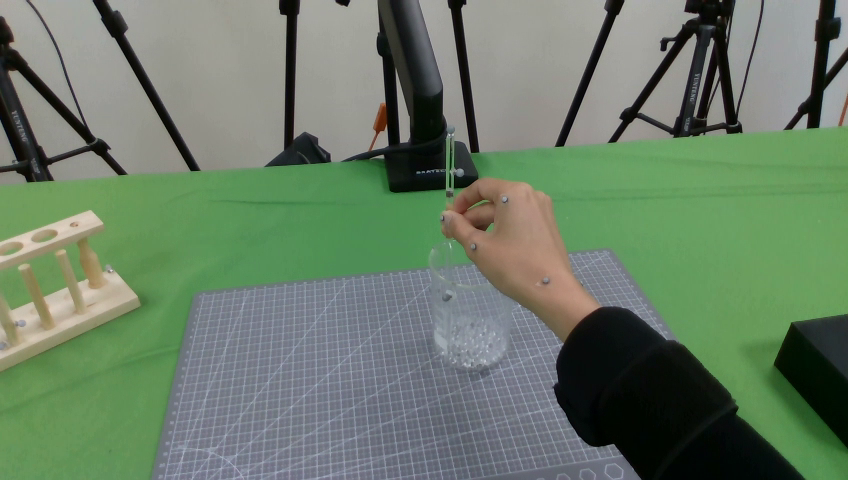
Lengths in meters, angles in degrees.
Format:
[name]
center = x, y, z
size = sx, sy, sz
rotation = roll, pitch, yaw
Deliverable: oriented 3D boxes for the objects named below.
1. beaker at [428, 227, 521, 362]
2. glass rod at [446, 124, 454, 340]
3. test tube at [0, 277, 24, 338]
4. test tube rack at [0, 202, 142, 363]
[beaker]
center = 0.039, 0.049, 0.528
size = 0.083, 0.101, 0.074
rotation = 27, 44, 34
[glass rod]
center = 0.022, 0.002, 0.496
size = 0.008, 0.201, 0.008
rotation = -1, 29, 1
[test tube]
center = -0.368, 0.023, 0.505
size = 0.017, 0.151, 0.017
rotation = 1, 34, -1
[test tube rack]
center = -0.393, 0.058, 0.534
size = 0.242, 0.086, 0.066
rotation = -29, 45, -34
